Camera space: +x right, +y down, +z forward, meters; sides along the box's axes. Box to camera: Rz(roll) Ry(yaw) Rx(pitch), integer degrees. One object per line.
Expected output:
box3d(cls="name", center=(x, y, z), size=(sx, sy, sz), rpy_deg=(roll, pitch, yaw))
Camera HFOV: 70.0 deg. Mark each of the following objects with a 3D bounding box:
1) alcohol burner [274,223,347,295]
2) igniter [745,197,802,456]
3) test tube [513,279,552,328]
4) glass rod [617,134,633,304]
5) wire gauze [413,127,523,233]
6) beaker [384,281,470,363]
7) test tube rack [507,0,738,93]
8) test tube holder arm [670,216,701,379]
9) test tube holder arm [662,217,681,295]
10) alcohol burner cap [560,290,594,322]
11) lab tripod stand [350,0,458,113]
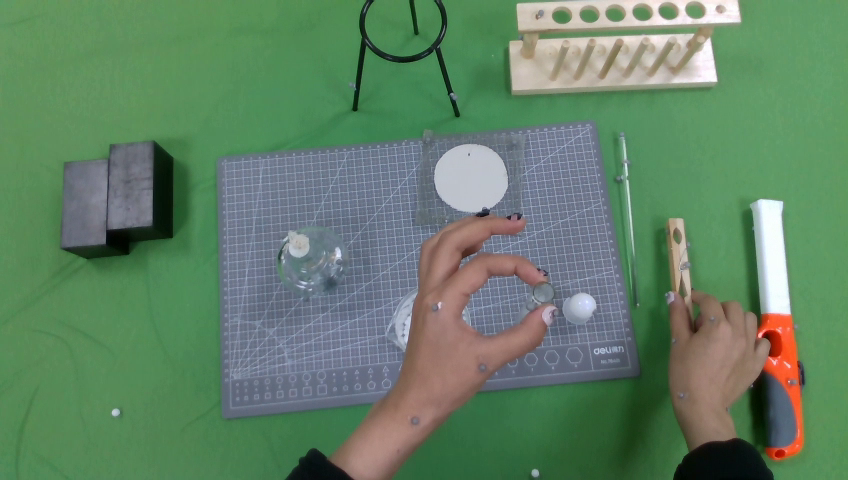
box3d(cls="alcohol burner", center=(-0.122, 0.016, 0.630), size=(0.078, 0.120, 0.077), rpy_deg=(-1, 75, 3))
box3d(cls="igniter", center=(0.374, 0.088, 0.652), size=(0.057, 0.025, 0.275), rpy_deg=(5, 77, -8))
box3d(cls="test tube", center=(0.083, 0.053, 0.473), size=(0.017, 0.151, 0.017), rpy_deg=(-1, 75, 4))
box3d(cls="glass rod", center=(0.229, -0.027, 0.690), size=(0.008, 0.008, 0.199), rpy_deg=(0, 79, 1))
box3d(cls="wire gauze", center=(0.053, -0.072, 0.703), size=(0.125, 0.011, 0.121), rpy_deg=(5, 78, 1))
box3d(cls="beaker", center=(0.004, 0.089, 0.618), size=(0.084, 0.101, 0.073), rpy_deg=(-13, 76, -1))
box3d(cls="test tube rack", center=(0.222, -0.225, 0.699), size=(0.242, 0.085, 0.066), rpy_deg=(-2, 76, 1))
box3d(cls="test tube holder arm", center=(0.280, 0.059, 0.651), size=(0.013, 0.015, 0.177), rpy_deg=(-7, 70, 14))
box3d(cls="test tube holder arm", center=(0.274, 0.017, 0.667), size=(0.010, 0.015, 0.087), rpy_deg=(-5, 70, 14))
box3d(cls="alcohol burner cap", center=(0.166, 0.069, 0.649), size=(0.034, 0.048, 0.033), rpy_deg=(0, 76, 1))
box3d(cls="lab tripod stand", center=(-0.024, -0.206, 0.674), size=(0.148, 0.132, 0.147), rpy_deg=(0, 78, 1))
